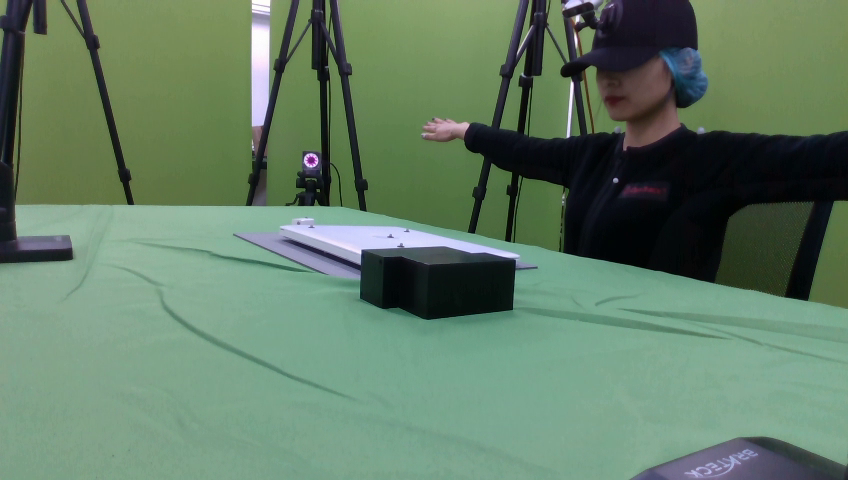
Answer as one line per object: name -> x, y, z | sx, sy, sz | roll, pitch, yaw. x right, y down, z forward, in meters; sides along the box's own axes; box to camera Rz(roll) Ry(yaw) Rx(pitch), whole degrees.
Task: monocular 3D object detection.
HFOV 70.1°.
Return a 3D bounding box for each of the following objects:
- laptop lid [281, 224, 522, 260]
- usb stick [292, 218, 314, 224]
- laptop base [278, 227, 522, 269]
laptop lid -> -0.050, -0.002, 0.911 | 0.243, 0.013, 0.355 | 1, 7, -31
usb stick -> -0.222, -0.026, 1.091 | 0.021, 0.027, 0.059 | 5, 10, 21
laptop base -> -0.053, 0.010, 0.911 | 0.237, 0.023, 0.352 | 2, 6, -32
